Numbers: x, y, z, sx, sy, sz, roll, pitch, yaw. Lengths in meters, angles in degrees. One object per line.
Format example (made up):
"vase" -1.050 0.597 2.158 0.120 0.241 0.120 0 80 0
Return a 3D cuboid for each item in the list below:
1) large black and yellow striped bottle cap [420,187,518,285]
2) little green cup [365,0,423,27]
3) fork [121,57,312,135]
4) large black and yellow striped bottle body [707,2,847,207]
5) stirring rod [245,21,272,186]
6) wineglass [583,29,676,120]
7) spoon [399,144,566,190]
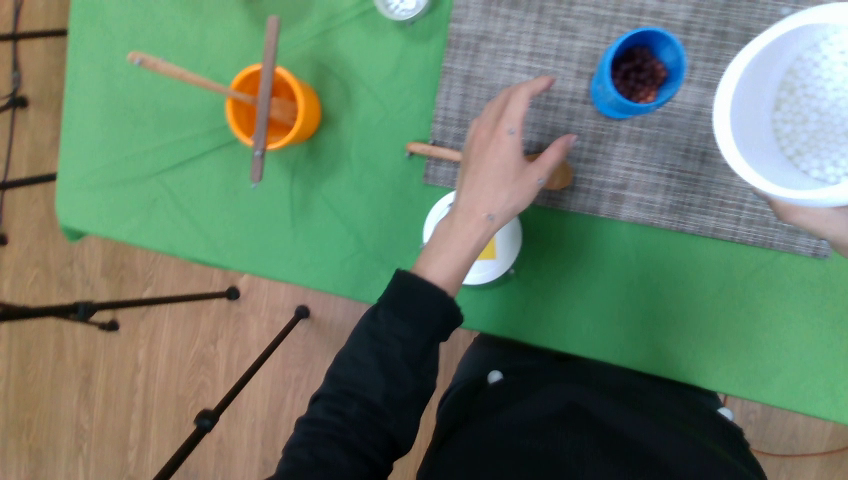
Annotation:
"large black and yellow striped bottle cap" 0.052 -0.004 0.708 0.115 0.019 0.115 2 103 10
"little green cup" -0.030 -0.266 0.668 0.061 0.038 0.062 2 100 12
"fork" -0.220 -0.157 0.666 0.209 0.018 0.028 14 113 -36
"large black and yellow striped bottle body" 0.288 -0.094 0.428 0.129 0.185 0.131 14 110 43
"stirring rod" -0.180 -0.146 0.657 0.014 0.006 0.176 11 102 10
"wineglass" 0.188 -0.151 0.573 0.073 0.172 0.074 2 99 11
"spoon" 0.064 -0.089 0.685 0.193 0.021 0.042 11 121 9
